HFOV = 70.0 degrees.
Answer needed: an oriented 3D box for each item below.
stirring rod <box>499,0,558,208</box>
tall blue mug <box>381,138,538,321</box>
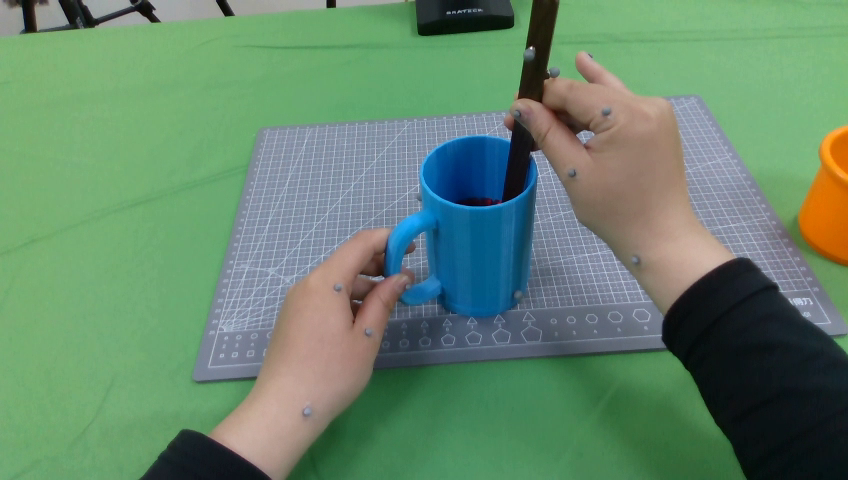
[{"bbox_3d":[0.061,-0.067,0.372,0.014,0.177,0.006,19,55,14],"label":"stirring rod"},{"bbox_3d":[0.029,0.004,0.416,0.077,0.109,0.107,20,50,21],"label":"tall blue mug"}]
